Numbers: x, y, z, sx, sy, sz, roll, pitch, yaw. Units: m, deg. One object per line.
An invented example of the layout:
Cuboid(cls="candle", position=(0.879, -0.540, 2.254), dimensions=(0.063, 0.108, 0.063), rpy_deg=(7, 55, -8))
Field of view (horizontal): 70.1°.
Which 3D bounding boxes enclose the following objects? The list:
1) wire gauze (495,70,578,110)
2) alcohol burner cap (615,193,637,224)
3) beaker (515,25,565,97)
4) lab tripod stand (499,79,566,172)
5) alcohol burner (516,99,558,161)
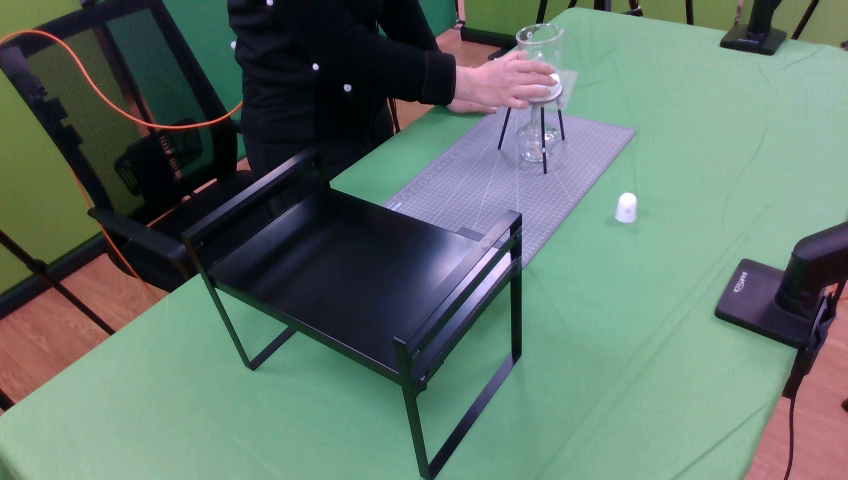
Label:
Cuboid(cls="wire gauze", position=(0.199, -0.268, 1.065), dimensions=(0.124, 0.011, 0.121), rpy_deg=(10, 44, 22))
Cuboid(cls="alcohol burner cap", position=(0.327, -0.053, 0.974), dimensions=(0.034, 0.048, 0.033), rpy_deg=(-4, 38, 4))
Cuboid(cls="beaker", position=(0.199, -0.302, 1.025), dimensions=(0.084, 0.101, 0.073), rpy_deg=(-15, 40, -3))
Cuboid(cls="lab tripod stand", position=(0.204, -0.216, 1.107), dimensions=(0.148, 0.132, 0.147), rpy_deg=(-6, 41, 5))
Cuboid(cls="alcohol burner", position=(0.208, -0.206, 1.110), dimensions=(0.078, 0.119, 0.077), rpy_deg=(-3, 41, 3))
